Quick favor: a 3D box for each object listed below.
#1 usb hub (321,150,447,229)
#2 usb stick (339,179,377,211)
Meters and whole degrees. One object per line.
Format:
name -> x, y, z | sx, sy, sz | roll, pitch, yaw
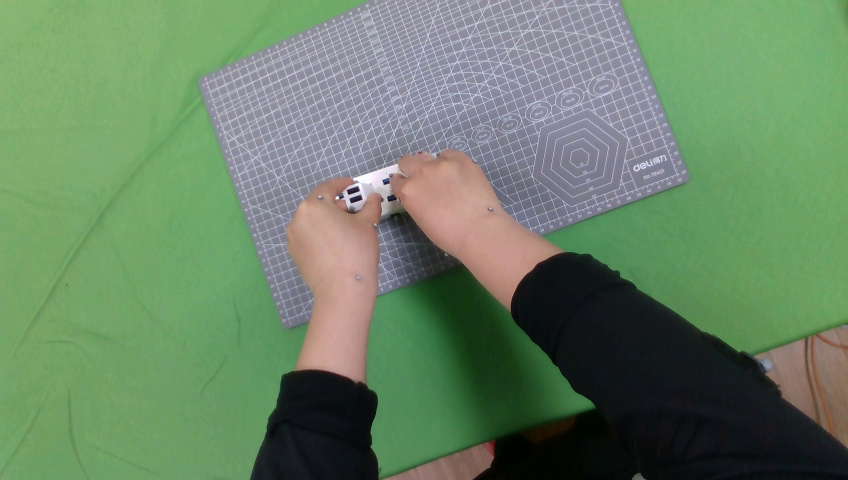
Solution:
usb hub -> -0.042, -0.053, 0.634 | 0.125, 0.025, 0.049 | -16, 86, 9
usb stick -> -0.063, -0.043, 0.602 | 0.021, 0.059, 0.027 | -20, 85, 9
